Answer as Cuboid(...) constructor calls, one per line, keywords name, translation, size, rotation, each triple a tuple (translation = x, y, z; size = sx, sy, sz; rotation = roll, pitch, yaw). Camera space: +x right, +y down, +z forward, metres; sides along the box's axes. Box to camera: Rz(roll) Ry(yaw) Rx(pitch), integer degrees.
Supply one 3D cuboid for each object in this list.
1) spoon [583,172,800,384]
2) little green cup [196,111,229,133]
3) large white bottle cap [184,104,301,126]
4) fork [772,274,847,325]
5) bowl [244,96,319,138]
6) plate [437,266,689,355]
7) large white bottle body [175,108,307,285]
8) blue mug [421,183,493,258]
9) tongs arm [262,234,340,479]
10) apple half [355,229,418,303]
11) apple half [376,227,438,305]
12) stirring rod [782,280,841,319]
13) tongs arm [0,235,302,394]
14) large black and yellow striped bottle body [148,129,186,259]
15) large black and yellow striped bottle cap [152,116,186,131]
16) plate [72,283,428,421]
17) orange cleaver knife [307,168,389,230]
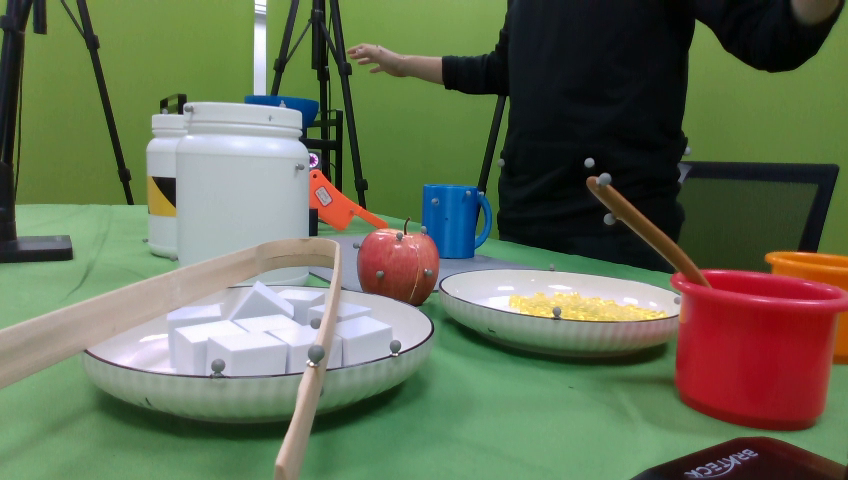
Cuboid(name="spoon", translation=(0.159, 0.026, 0.358), size=(0.194, 0.021, 0.041), rotation=(46, -2, -14))
Cuboid(name="little green cup", translation=(-0.403, -0.225, 1.154), size=(0.061, 0.038, 0.061), rotation=(3, 8, 0))
Cuboid(name="large white bottle cap", translation=(-0.184, -0.126, 0.618), size=(0.115, 0.018, 0.115), rotation=(2, 8, 0))
Cuboid(name="fork", translation=(0.332, 0.018, 0.443), size=(0.028, 0.018, 0.207), rotation=(-1, -36, -15))
Cuboid(name="bowl", translation=(-0.295, -0.252, 1.254), size=(0.151, 0.077, 0.151), rotation=(2, 7, 0))
Cuboid(name="plate", translation=(0.113, 0.057, 0.518), size=(0.209, 0.038, 0.209), rotation=(3, 7, 0))
Cuboid(name="large white bottle body", translation=(-0.188, -0.042, 0.630), size=(0.131, 0.184, 0.130), rotation=(2, 8, 0))
Cuboid(name="blue mug", translation=(0.052, -0.032, 0.912), size=(0.117, 0.106, 0.082), rotation=(-1, 8, -24))
Cuboid(name="tongs arm", translation=(-0.074, 0.039, 0.349), size=(0.051, 0.026, 0.384), rotation=(-2, 10, -3))
Cuboid(name="apple half", translation=(-0.044, 0.027, 0.564), size=(0.081, 0.081, 0.033), rotation=(9, 5, 42))
Cuboid(name="apple half", translation=(-0.017, 0.026, 0.593), size=(0.080, 0.074, 0.053), rotation=(4, 2, 43))
Cuboid(name="stirring rod", translation=(0.344, 0.019, 0.460), size=(0.014, 0.006, 0.176), rotation=(-13, -27, -30))
Cuboid(name="tongs arm", translation=(-0.157, 0.038, 0.351), size=(0.028, 0.028, 0.388), rotation=(-3, 9, 12))
Cuboid(name="large black and yellow striped bottle body", translation=(-0.310, -0.073, 0.838), size=(0.131, 0.184, 0.130), rotation=(2, 8, 0))
Cuboid(name="large black and yellow striped bottle cap", translation=(-0.309, -0.155, 0.826), size=(0.115, 0.019, 0.115), rotation=(3, 6, 0))
Cuboid(name="plate", translation=(-0.102, 0.066, 0.381), size=(0.208, 0.039, 0.207), rotation=(2, 7, 0))
Cuboid(name="orange cleaver knife", translation=(-0.158, -0.060, 1.166), size=(0.212, 0.077, 0.012), rotation=(34, -12, -32))
